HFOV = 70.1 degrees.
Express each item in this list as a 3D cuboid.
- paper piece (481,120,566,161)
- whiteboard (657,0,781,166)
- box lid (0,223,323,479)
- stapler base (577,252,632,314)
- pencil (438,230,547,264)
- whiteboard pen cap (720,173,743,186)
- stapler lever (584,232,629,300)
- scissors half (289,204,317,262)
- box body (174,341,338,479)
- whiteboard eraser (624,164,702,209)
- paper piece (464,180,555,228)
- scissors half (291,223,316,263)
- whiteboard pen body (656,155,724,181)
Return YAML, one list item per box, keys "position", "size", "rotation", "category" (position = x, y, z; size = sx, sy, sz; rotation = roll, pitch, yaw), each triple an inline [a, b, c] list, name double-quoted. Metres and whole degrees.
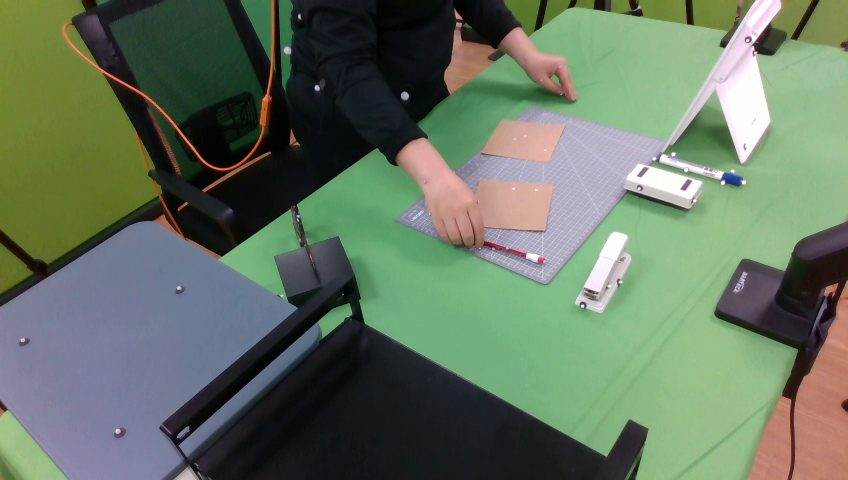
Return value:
- position: [0.197, -0.199, 1.189]
  size: [0.135, 0.004, 0.135]
  rotation: [10, 44, 22]
  category: "paper piece"
- position: [0.571, -0.272, 1.038]
  size: [0.143, 0.306, 0.218]
  rotation: [37, 54, 17]
  category: "whiteboard"
- position: [-0.318, 0.109, 0.671]
  size: [0.368, 0.015, 0.264]
  rotation: [24, 49, 31]
  category: "box lid"
- position: [0.264, 0.051, 0.875]
  size: [0.041, 0.024, 0.131]
  rotation: [16, 47, 30]
  category: "stapler base"
- position: [0.104, 0.008, 0.956]
  size: [0.192, 0.012, 0.012]
  rotation: [16, 46, 29]
  category: "pencil"
- position: [0.519, -0.103, 1.020]
  size: [0.033, 0.018, 0.018]
  rotation: [23, 49, 29]
  category: "whiteboard pen cap"
- position: [0.261, 0.034, 0.858]
  size: [0.026, 0.040, 0.118]
  rotation: [16, 46, 30]
  category: "stapler lever"
- position: [-0.189, -0.011, 0.945]
  size: [0.013, 0.040, 0.173]
  rotation: [-13, 36, -18]
  category: "scissors half"
- position: [-0.311, 0.165, 0.720]
  size: [0.361, 0.161, 0.255]
  rotation: [23, 48, 32]
  category: "box body"
- position: [0.396, -0.086, 1.003]
  size: [0.112, 0.042, 0.056]
  rotation: [22, 48, 31]
  category: "whiteboard eraser"
- position: [0.149, -0.062, 1.034]
  size: [0.137, 0.009, 0.136]
  rotation: [5, 37, 17]
  category: "paper piece"
- position: [-0.187, 0.007, 0.954]
  size: [0.013, 0.040, 0.174]
  rotation: [-18, 21, -15]
  category: "scissors half"
- position: [0.475, -0.123, 1.052]
  size: [0.139, 0.017, 0.017]
  rotation: [24, 50, 32]
  category: "whiteboard pen body"
